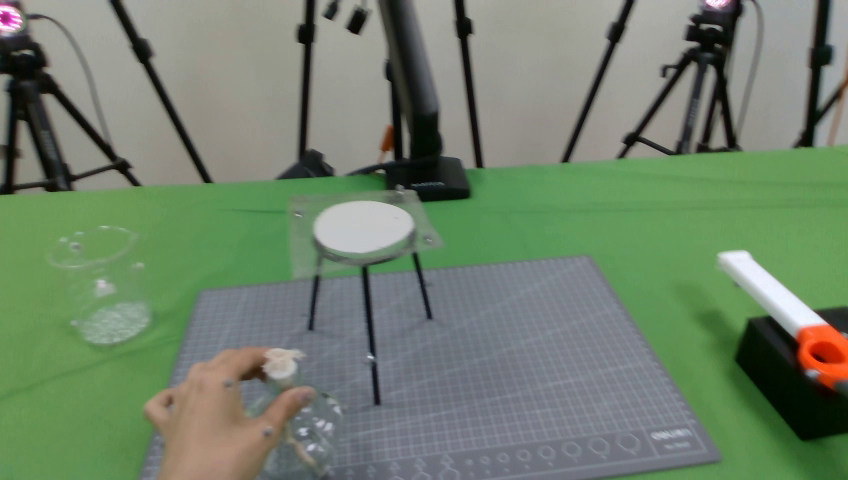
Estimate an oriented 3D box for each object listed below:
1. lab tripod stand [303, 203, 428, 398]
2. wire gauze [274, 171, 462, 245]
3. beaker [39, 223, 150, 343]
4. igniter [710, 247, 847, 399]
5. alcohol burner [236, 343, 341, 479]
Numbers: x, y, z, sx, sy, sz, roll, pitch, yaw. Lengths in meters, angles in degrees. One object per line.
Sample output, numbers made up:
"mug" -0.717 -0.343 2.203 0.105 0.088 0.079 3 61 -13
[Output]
"lab tripod stand" -0.053 0.046 0.549 0.148 0.132 0.147 1 33 0
"wire gauze" -0.049 -0.028 0.508 0.125 0.011 0.120 -13 29 -31
"beaker" -0.315 0.043 0.596 0.073 0.101 0.084 25 40 34
"igniter" 0.324 0.081 0.503 0.057 0.025 0.274 -6 30 -5
"alcohol burner" -0.101 0.123 0.447 0.078 0.120 0.077 1 31 0
